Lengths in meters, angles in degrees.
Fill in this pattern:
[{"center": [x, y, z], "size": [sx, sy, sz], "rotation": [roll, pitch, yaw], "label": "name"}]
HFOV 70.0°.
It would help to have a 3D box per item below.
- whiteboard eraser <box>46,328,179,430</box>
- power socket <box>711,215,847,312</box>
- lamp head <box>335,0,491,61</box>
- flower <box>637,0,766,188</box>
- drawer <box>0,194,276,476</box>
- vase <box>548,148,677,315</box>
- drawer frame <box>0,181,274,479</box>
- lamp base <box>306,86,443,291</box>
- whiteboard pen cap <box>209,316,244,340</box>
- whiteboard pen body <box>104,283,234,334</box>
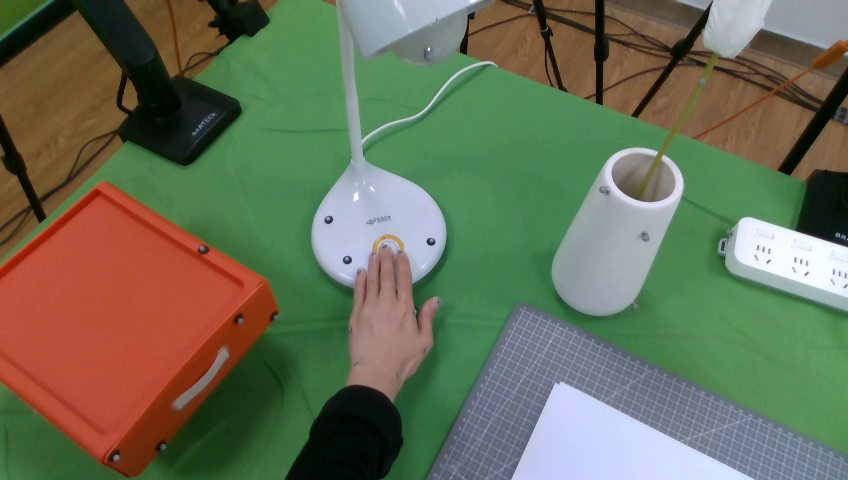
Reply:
[{"center": [-0.285, 0.128, 0.558], "size": [0.112, 0.042, 0.055], "rotation": [20, 53, 20], "label": "whiteboard eraser"}, {"center": [0.451, 0.034, 0.694], "size": [0.226, 0.033, 0.072], "rotation": [19, 60, 10], "label": "power socket"}, {"center": [-0.020, -0.194, 0.398], "size": [0.112, 0.112, 0.123], "rotation": [-31, 101, -19], "label": "lamp head"}, {"center": [0.202, -0.059, 0.553], "size": [0.038, 0.364, 0.043], "rotation": [15, 40, 0], "label": "flower"}, {"center": [-0.285, 0.077, 0.570], "size": [0.210, 0.074, 0.194], "rotation": [28, 62, 16], "label": "drawer"}, {"center": [0.186, -0.004, 0.615], "size": [0.098, 0.201, 0.097], "rotation": [0, 57, 0], "label": "vase"}, {"center": [-0.291, 0.076, 0.573], "size": [0.212, 0.083, 0.201], "rotation": [29, 62, 14], "label": "drawer frame"}, {"center": [-0.063, -0.062, 0.657], "size": [0.161, 0.182, 0.177], "rotation": [-23, 58, -15], "label": "lamp base"}, {"center": [-0.194, 0.086, 0.593], "size": [0.033, 0.018, 0.018], "rotation": [15, 58, 16], "label": "whiteboard pen cap"}, {"center": [-0.253, 0.070, 0.601], "size": [0.140, 0.017, 0.017], "rotation": [17, 59, 7], "label": "whiteboard pen body"}]
